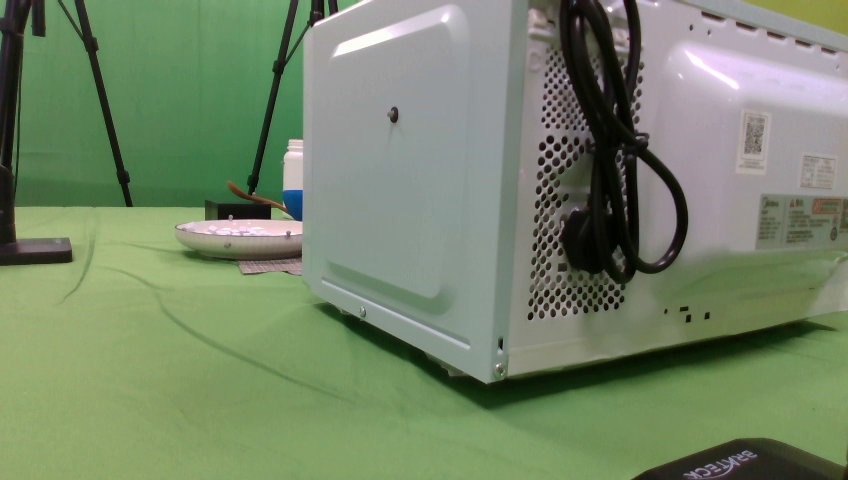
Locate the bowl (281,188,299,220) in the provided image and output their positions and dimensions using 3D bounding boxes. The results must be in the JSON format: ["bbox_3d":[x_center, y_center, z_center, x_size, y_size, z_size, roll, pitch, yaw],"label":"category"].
[{"bbox_3d":[-0.190,-0.053,1.129,0.151,0.077,0.151,3,8,0],"label":"bowl"}]

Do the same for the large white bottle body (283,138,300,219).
[{"bbox_3d":[-0.265,-0.144,1.423,0.131,0.184,0.130,2,7,0],"label":"large white bottle body"}]

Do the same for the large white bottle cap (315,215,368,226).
[{"bbox_3d":[-0.178,-0.041,1.309,0.115,0.018,0.115,2,6,0],"label":"large white bottle cap"}]

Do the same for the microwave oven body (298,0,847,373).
[{"bbox_3d":[0.151,-0.055,0.542,0.444,0.260,0.324,-1,7,-33],"label":"microwave oven body"}]

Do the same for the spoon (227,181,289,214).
[{"bbox_3d":[-0.315,-0.074,1.234,0.195,0.021,0.041,24,-10,-37],"label":"spoon"}]

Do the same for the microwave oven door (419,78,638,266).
[{"bbox_3d":[0.133,-0.105,0.894,0.354,0.243,0.039,9,10,43],"label":"microwave oven door"}]

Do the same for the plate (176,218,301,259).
[{"bbox_3d":[-0.248,-0.003,0.877,0.209,0.038,0.209,1,8,0],"label":"plate"}]

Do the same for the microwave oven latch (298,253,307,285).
[{"bbox_3d":[-0.082,0.027,0.582,0.079,0.029,0.030,-2,7,-33],"label":"microwave oven latch"}]
